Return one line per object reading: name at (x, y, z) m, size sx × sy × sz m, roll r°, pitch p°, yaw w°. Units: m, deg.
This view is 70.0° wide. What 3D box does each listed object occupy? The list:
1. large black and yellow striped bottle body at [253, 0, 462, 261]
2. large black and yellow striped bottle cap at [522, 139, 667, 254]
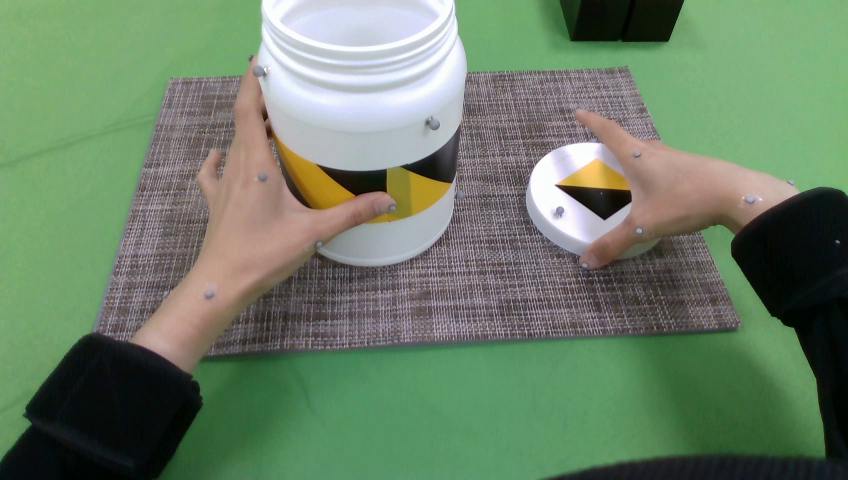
large black and yellow striped bottle body at (-0.042, -0.087, 0.415) m, size 0.131 × 0.185 × 0.129 m, roll 1°, pitch 52°, yaw -1°
large black and yellow striped bottle cap at (0.138, -0.039, 0.491) m, size 0.115 × 0.019 × 0.114 m, roll 2°, pitch 52°, yaw -2°
